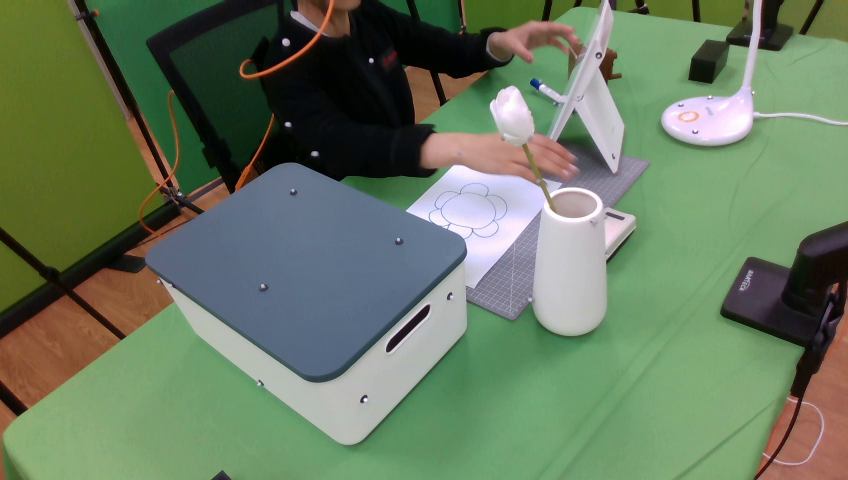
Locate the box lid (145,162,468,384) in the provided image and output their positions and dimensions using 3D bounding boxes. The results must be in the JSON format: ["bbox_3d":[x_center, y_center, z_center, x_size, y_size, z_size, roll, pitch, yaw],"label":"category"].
[{"bbox_3d":[-0.157,0.014,0.769,0.368,0.015,0.264,25,51,33],"label":"box lid"}]

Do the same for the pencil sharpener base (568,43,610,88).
[{"bbox_3d":[0.345,-0.352,1.263,0.077,0.107,0.061,-8,40,1],"label":"pencil sharpener base"}]

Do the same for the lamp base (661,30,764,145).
[{"bbox_3d":[0.535,-0.287,1.096,0.179,0.181,0.159,-10,40,-4],"label":"lamp base"}]

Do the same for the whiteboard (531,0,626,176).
[{"bbox_3d":[0.320,-0.259,1.050,0.144,0.306,0.217,22,46,6],"label":"whiteboard"}]

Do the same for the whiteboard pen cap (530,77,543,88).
[{"bbox_3d":[0.248,-0.344,1.328,0.018,0.018,0.033,-23,46,-16],"label":"whiteboard pen cap"}]

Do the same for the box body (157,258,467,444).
[{"bbox_3d":[-0.147,0.072,0.816,0.361,0.161,0.255,24,50,33],"label":"box body"}]

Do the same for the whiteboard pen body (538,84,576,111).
[{"bbox_3d":[0.278,-0.309,1.289,0.017,0.017,0.139,-26,47,-19],"label":"whiteboard pen body"}]

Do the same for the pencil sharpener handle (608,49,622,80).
[{"bbox_3d":[0.394,-0.367,1.253,0.030,0.068,0.036,-8,32,1],"label":"pencil sharpener handle"}]

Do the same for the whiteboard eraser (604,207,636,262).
[{"bbox_3d":[0.272,-0.003,0.919,0.055,0.042,0.113,27,51,32],"label":"whiteboard eraser"}]

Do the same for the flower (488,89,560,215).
[{"bbox_3d":[0.159,-0.028,0.720,0.038,0.364,0.044,-16,44,22],"label":"flower"}]

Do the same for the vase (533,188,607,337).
[{"bbox_3d":[0.187,0.033,0.771,0.098,0.201,0.097,-6,41,6],"label":"vase"}]
